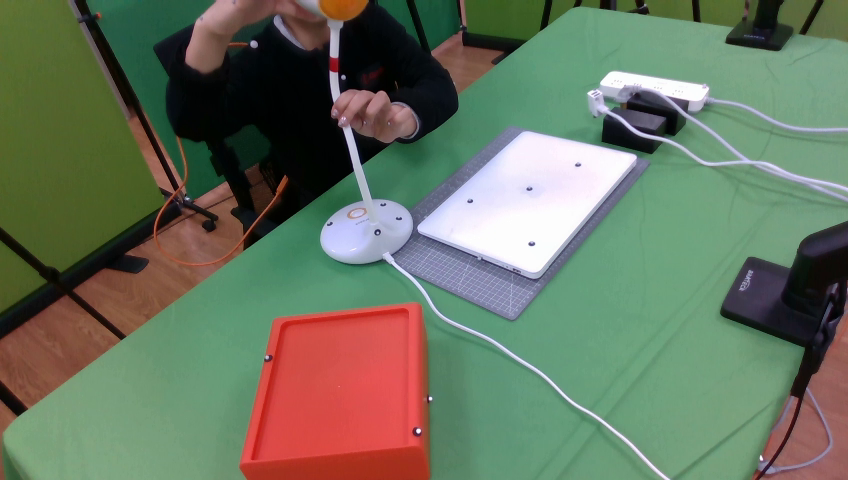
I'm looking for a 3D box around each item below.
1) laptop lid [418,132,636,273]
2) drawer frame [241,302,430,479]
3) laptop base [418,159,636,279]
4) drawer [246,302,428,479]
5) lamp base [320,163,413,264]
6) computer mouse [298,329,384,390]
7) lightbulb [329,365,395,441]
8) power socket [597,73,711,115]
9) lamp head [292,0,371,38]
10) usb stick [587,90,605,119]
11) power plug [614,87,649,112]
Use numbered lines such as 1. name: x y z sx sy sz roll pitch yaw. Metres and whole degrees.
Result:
1. laptop lid: 0.181 -0.084 1.036 0.239 0.013 0.358 22 49 35
2. drawer frame: -0.095 0.184 0.740 0.202 0.083 0.212 -7 40 3
3. laptop base: 0.185 -0.074 1.042 0.233 0.023 0.355 19 48 35
4. drawer: -0.097 0.184 0.743 0.194 0.073 0.210 -6 41 3
5. lamp base: -0.102 -0.069 0.964 0.161 0.181 0.177 -29 45 -19
6. computer mouse: -0.111 0.156 0.799 0.117 0.041 0.062 -15 41 1
7. lightbulb: -0.080 0.195 0.738 0.060 0.060 0.107 -32 61 -25
8. power socket: 0.469 -0.304 1.249 0.225 0.033 0.072 20 49 30
9. lamp head: -0.118 -0.322 0.764 0.113 0.113 0.122 -21 57 -14
10. usb stick: 0.334 -0.258 1.170 0.021 0.059 0.027 -28 44 -6
11. power plug: 0.406 -0.275 1.192 0.035 0.053 0.072 -16 24 -15
